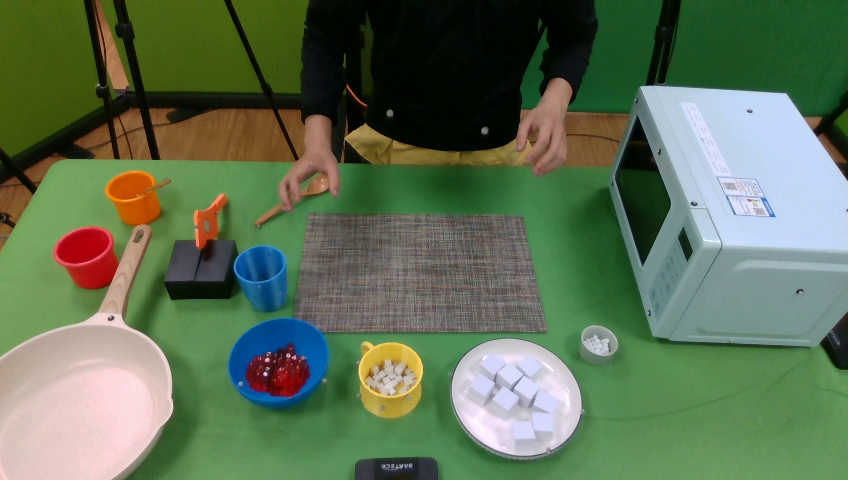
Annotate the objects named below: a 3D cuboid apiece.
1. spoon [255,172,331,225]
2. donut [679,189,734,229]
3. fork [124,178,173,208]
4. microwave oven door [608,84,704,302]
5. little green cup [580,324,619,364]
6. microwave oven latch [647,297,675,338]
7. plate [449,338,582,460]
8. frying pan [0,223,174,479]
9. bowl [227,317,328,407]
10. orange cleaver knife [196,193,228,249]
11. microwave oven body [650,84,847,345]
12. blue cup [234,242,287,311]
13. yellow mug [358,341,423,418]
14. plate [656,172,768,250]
[{"bbox_3d":[-0.272,-0.087,1.257,0.041,0.022,0.193,44,57,15],"label":"spoon"},{"bbox_3d":[0.545,-0.062,1.175,0.099,0.048,0.098,0,45,0],"label":"donut"},{"bbox_3d":[-0.525,-0.090,1.153,0.207,0.019,0.028,-18,27,45],"label":"fork"},{"bbox_3d":[0.424,-0.096,1.138,0.039,0.245,0.353,2,46,-1],"label":"microwave oven door"},{"bbox_3d":[0.296,0.179,1.031,0.061,0.039,0.061,2,45,-2],"label":"little green cup"},{"bbox_3d":[0.413,0.133,1.060,0.030,0.029,0.078,5,46,2],"label":"microwave oven latch"},{"bbox_3d":[0.141,0.251,0.955,0.208,0.039,0.206,2,46,-2],"label":"plate"},{"bbox_3d":[-0.504,0.169,0.941,0.307,0.103,0.485,5,54,-1],"label":"frying pan"},{"bbox_3d":[-0.222,0.203,0.947,0.151,0.077,0.150,2,46,-2],"label":"bowl"},{"bbox_3d":[-0.406,-0.041,1.163,0.012,0.077,0.210,0,18,-3],"label":"orange cleaver knife"},{"bbox_3d":[0.569,-0.054,1.116,0.326,0.261,0.439,2,46,-1],"label":"microwave oven body"},{"bbox_3d":[-0.276,0.071,1.052,0.093,0.101,0.092,1,48,-1],"label":"blue cup"},{"bbox_3d":[-0.063,0.210,0.961,0.100,0.064,0.130,-29,54,-28],"label":"yellow mug"},{"bbox_3d":[0.557,-0.053,1.186,0.209,0.038,0.208,2,45,-2],"label":"plate"}]
